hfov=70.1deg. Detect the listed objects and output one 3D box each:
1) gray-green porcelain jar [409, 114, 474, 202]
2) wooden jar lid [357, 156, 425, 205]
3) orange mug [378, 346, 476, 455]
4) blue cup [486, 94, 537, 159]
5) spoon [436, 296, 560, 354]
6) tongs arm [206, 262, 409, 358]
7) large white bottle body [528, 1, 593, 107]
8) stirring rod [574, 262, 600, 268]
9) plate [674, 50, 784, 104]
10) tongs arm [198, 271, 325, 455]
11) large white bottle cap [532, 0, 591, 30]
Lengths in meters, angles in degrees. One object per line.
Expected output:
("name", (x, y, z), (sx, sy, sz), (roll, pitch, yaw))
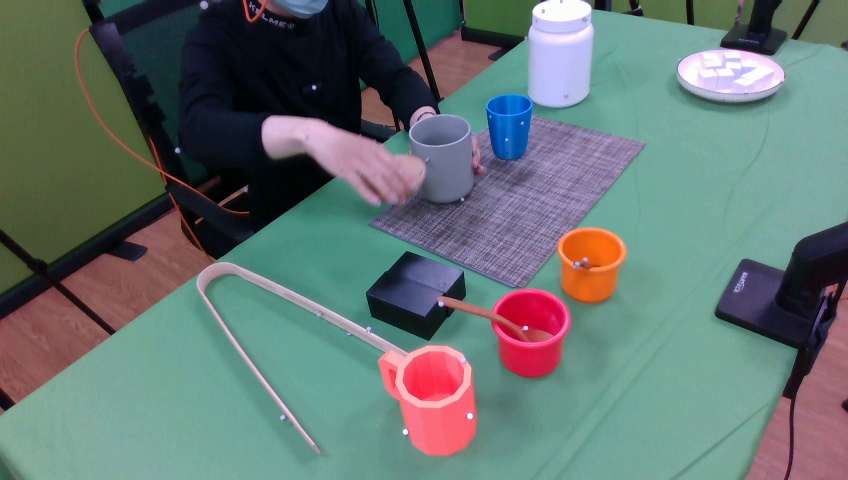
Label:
("gray-green porcelain jar", (0.033, -0.137, 1.045), (0.106, 0.127, 0.105), (-4, 41, 4))
("wooden jar lid", (-0.050, -0.092, 0.943), (0.108, 0.021, 0.108), (-7, 44, 7))
("orange mug", (0.002, 0.179, 0.708), (0.125, 0.101, 0.083), (25, 50, 27))
("blue cup", (0.161, -0.208, 1.129), (0.092, 0.100, 0.092), (-4, 39, 4))
("spoon", (0.095, 0.102, 0.750), (0.195, 0.021, 0.041), (28, 31, -28))
("tongs arm", (-0.179, 0.106, 0.870), (0.382, 0.027, 0.051), (23, 56, 32))
("large white bottle body", (0.283, -0.386, 1.259), (0.130, 0.185, 0.130), (-5, 41, 5))
("stirring rod", (0.222, 0.033, 0.816), (0.014, 0.006, 0.177), (8, 1, 22))
("plate", (0.631, -0.336, 1.262), (0.207, 0.039, 0.206), (-4, 41, 4))
("tongs arm", (-0.236, 0.155, 0.832), (0.028, 0.028, 0.384), (-38, 49, -17))
("large white bottle cap", (0.274, -0.449, 1.204), (0.115, 0.018, 0.114), (-4, 41, 4))
